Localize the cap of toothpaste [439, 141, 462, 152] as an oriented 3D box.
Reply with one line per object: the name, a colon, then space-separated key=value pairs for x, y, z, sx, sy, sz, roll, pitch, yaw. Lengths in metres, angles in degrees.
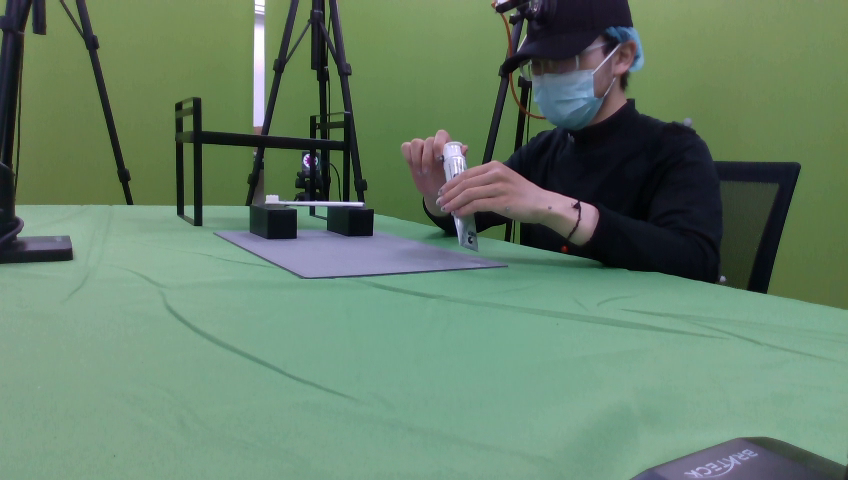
cap of toothpaste: x=0.041 y=-0.139 z=0.921 sx=0.037 sy=0.011 sz=0.037 roll=-9 pitch=-20 yaw=-3

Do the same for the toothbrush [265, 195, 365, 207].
toothbrush: x=-0.192 y=-0.068 z=1.081 sx=0.183 sy=0.016 sz=0.014 roll=1 pitch=-8 yaw=-26

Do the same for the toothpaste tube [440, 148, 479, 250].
toothpaste tube: x=0.053 y=-0.066 z=0.894 sx=0.034 sy=0.164 sz=0.055 roll=-23 pitch=-22 yaw=31
